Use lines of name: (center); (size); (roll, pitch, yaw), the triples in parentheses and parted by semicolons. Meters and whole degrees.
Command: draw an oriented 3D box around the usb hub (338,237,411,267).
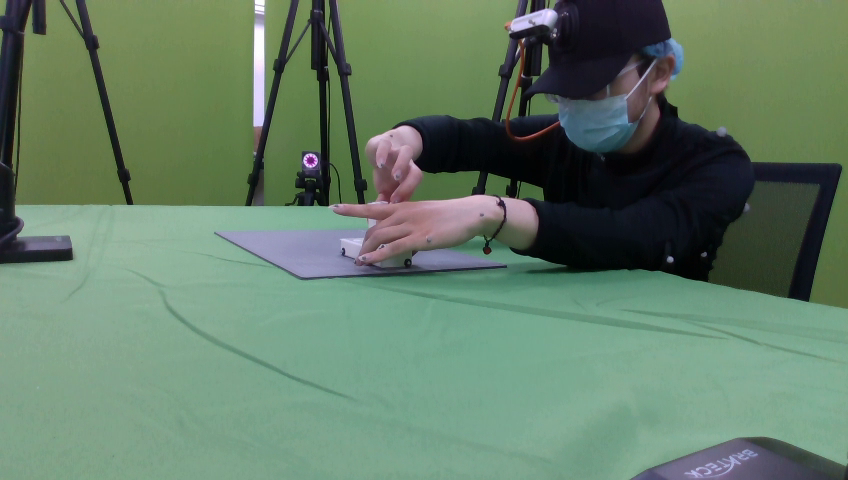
usb hub: (-0.071, 0.015, 0.833); (0.050, 0.025, 0.124); (-3, 8, -34)

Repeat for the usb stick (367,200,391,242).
usb stick: (-0.062, -0.024, 0.839); (0.027, 0.059, 0.021); (-9, 10, -28)
